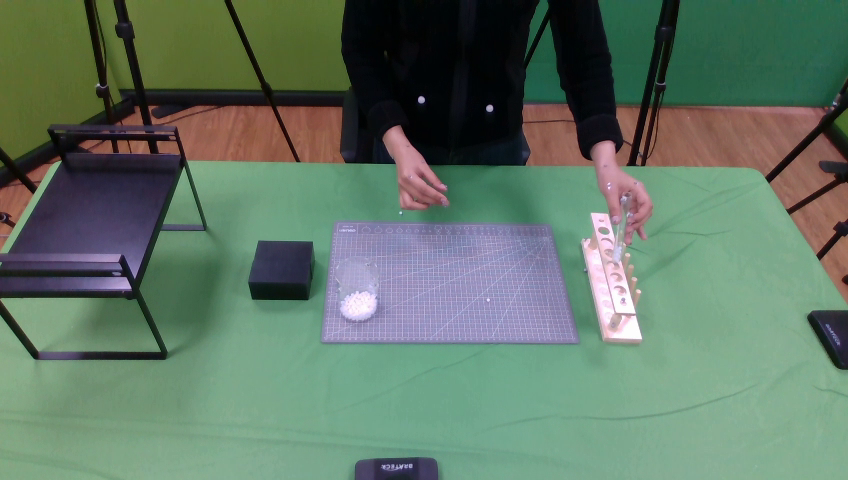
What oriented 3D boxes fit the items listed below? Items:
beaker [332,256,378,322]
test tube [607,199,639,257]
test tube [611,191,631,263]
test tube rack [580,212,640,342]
[{"bbox_3d":[-0.114,0.089,1.047,0.083,0.101,0.074,30,52,21],"label":"beaker"},{"bbox_3d":[0.374,-0.020,1.140,0.017,0.151,0.017,3,46,-3],"label":"test tube"},{"bbox_3d":[0.333,-0.018,1.023,0.017,0.151,0.017,-4,41,3],"label":"test tube"},{"bbox_3d":[0.351,0.063,1.121,0.067,0.085,0.241,3,46,-2],"label":"test tube rack"}]
